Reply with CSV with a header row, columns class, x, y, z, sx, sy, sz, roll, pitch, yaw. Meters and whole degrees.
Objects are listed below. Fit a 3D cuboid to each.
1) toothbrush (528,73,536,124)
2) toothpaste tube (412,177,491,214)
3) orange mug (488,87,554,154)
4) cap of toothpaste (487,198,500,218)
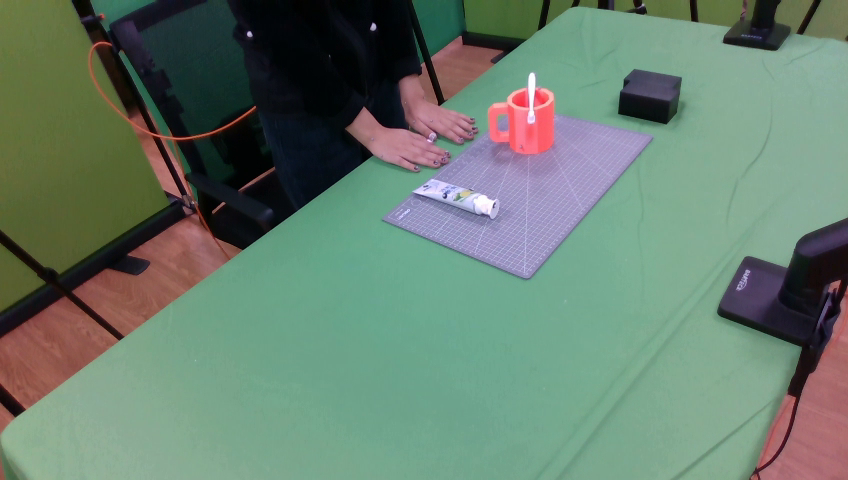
class,x,y,z,sx,sy,sz,roll,pitch,yaw
toothbrush,0.198,-0.266,1.114,0.014,0.017,0.181,-6,40,15
toothpaste tube,0.056,-0.079,1.057,0.163,0.034,0.055,22,42,37
orange mug,0.185,-0.227,1.151,0.126,0.101,0.083,1,41,5
cap of toothpaste,0.115,-0.054,1.006,0.011,0.037,0.037,17,47,24
